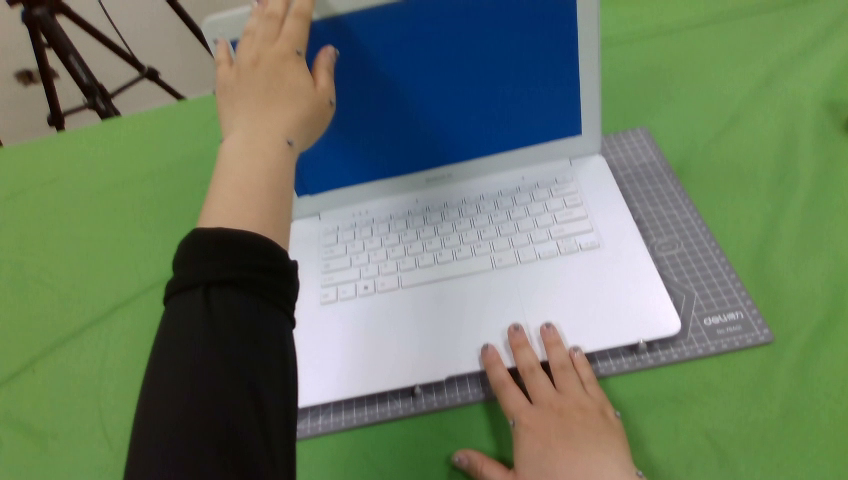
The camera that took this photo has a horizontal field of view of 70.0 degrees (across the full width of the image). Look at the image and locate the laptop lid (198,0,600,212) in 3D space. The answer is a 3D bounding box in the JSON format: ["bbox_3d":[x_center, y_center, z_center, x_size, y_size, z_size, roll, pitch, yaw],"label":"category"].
[{"bbox_3d":[-0.006,-0.149,0.592,0.356,0.244,0.013,-13,42,5],"label":"laptop lid"}]

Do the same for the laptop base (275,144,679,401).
[{"bbox_3d":[0.031,0.022,0.592,0.354,0.023,0.233,-12,50,4],"label":"laptop base"}]
